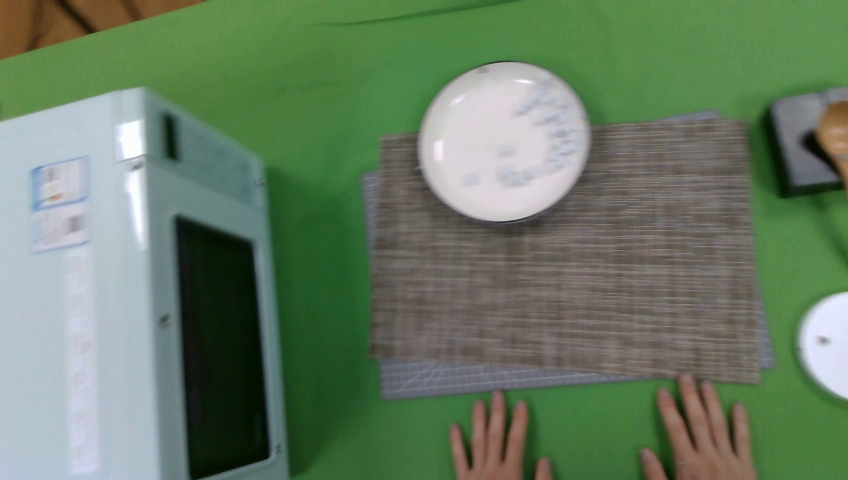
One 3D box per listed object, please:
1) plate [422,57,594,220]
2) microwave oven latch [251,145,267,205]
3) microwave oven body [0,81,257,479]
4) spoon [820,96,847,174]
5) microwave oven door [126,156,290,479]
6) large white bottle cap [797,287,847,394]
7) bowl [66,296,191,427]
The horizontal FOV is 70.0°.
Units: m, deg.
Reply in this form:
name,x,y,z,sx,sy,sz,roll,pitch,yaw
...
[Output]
name,x,y,z,sx,sy,sz,roll,pitch,yaw
plate,0.102,-0.122,0.748,0.208,0.038,0.208,-3,78,14
microwave oven latch,-0.231,-0.085,0.814,0.030,0.029,0.079,-10,79,12
microwave oven body,-0.377,0.094,0.719,0.325,0.262,0.439,-10,79,12
spoon,0.443,-0.052,0.624,0.041,0.021,0.194,-14,99,10
microwave oven door,-0.233,0.109,0.674,0.039,0.245,0.354,-10,78,13
large white bottle cap,0.455,0.105,0.632,0.114,0.018,0.114,-2,80,13
bowl,-0.339,0.146,0.732,0.151,0.077,0.150,-3,79,13
